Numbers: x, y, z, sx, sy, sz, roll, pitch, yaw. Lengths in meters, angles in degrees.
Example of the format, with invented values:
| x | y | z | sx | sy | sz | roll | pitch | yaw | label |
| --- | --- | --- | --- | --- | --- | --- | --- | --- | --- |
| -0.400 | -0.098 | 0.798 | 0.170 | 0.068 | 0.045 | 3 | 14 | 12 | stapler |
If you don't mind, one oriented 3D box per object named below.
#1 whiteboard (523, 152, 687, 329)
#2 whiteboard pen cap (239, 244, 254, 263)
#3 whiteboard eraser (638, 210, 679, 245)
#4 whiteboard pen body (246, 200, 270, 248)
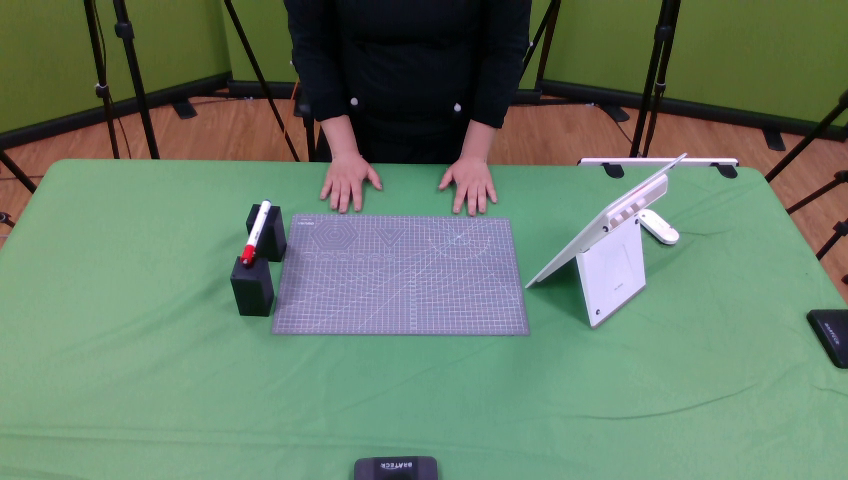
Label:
| x | y | z | sx | sy | sz | roll | pitch | yaw | label |
| --- | --- | --- | --- | --- | --- | --- | --- | --- | --- |
| 0.346 | 0.024 | 1.047 | 0.217 | 0.306 | 0.143 | -30 | 74 | -29 | whiteboard |
| -0.298 | 0.022 | 1.016 | 0.017 | 0.017 | 0.032 | 6 | 45 | 2 | whiteboard pen cap |
| 0.485 | -0.027 | 1.260 | 0.041 | 0.019 | 0.100 | -21 | 50 | -21 | whiteboard eraser |
| -0.293 | -0.020 | 1.059 | 0.017 | 0.017 | 0.139 | 5 | 46 | 0 | whiteboard pen body |
